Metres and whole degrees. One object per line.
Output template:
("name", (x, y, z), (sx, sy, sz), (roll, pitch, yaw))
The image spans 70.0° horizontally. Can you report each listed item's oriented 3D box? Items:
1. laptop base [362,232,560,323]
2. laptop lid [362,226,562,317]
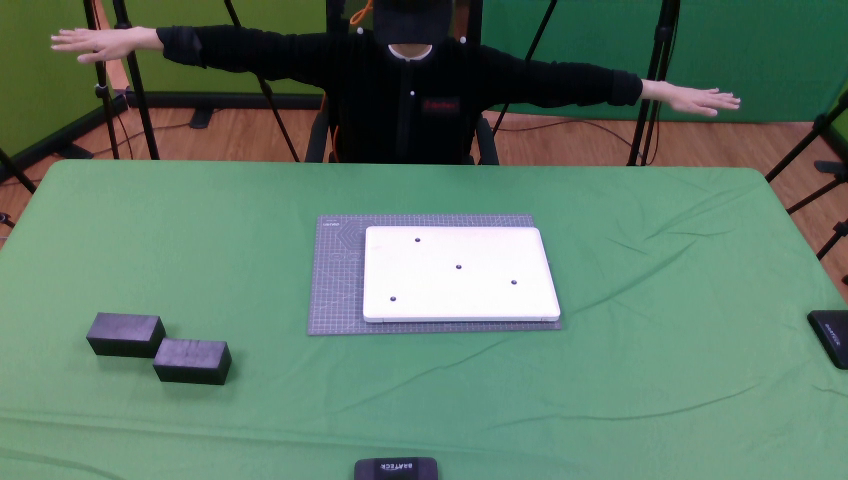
("laptop base", (0.064, 0.063, 1.143), (0.355, 0.023, 0.234), (0, 42, -4))
("laptop lid", (0.064, 0.053, 1.136), (0.357, 0.013, 0.240), (1, 44, -3))
